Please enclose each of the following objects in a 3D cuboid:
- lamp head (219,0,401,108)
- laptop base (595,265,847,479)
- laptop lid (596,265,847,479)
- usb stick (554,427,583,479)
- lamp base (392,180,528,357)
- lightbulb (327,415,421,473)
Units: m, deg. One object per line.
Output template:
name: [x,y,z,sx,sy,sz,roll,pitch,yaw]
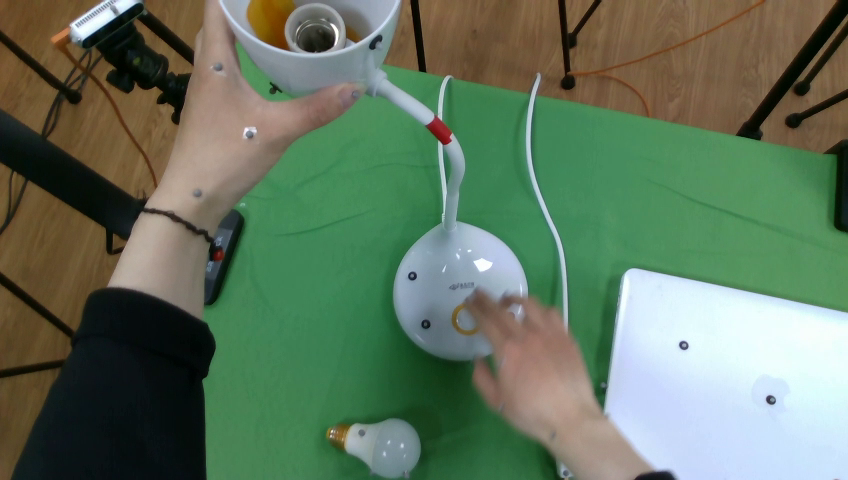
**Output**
lamp head: [-0.068,-0.141,0.409,0.112,0.123,0.111,0,73,-1]
laptop base: [0.381,0.174,0.679,0.354,0.023,0.234,12,76,4]
laptop lid: [0.380,0.173,0.667,0.356,0.013,0.240,13,75,5]
usb stick: [0.157,0.235,0.660,0.027,0.021,0.059,-1,82,1]
lamp base: [0.036,0.023,0.644,0.161,0.181,0.178,-17,71,-4]
lightbulb: [-0.056,0.216,0.657,0.107,0.060,0.059,7,73,19]
